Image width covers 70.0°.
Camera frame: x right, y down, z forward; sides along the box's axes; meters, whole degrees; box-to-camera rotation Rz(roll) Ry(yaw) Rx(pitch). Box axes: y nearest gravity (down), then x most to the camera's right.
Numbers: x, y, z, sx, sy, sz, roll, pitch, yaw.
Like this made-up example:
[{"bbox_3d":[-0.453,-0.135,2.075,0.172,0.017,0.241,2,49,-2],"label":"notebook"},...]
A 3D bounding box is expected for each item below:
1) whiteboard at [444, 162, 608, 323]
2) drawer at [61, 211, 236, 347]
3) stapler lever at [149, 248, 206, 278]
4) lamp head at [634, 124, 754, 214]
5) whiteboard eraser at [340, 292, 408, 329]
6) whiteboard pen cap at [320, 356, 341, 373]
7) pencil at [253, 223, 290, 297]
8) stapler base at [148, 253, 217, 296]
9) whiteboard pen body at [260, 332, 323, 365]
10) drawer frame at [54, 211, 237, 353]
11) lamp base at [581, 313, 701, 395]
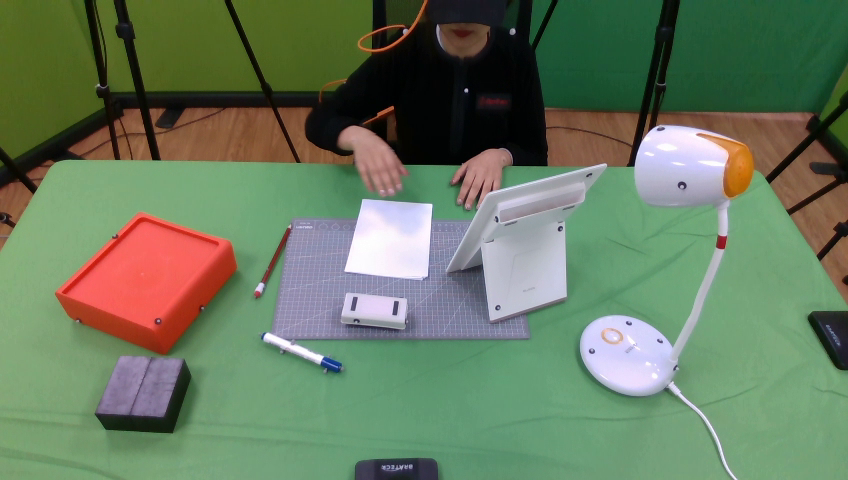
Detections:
[{"bbox_3d":[0.186,0.026,1.028,0.217,0.306,0.143,-14,68,-17],"label":"whiteboard"},{"bbox_3d":[-0.473,0.064,1.060,0.194,0.073,0.211,18,48,11],"label":"drawer"},{"bbox_3d":[-0.443,0.037,1.084,0.118,0.040,0.027,19,49,17],"label":"stapler lever"},{"bbox_3d":[0.351,-0.089,0.775,0.112,0.113,0.122,-30,30,-28],"label":"lamp head"},{"bbox_3d":[-0.087,0.125,1.052,0.113,0.042,0.055,5,45,1],"label":"whiteboard eraser"},{"bbox_3d":[-0.154,0.203,0.992,0.033,0.018,0.018,21,48,12],"label":"whiteboard pen cap"},{"bbox_3d":[-0.286,0.033,1.150,0.012,0.012,0.193,9,46,4],"label":"pencil"},{"bbox_3d":[-0.443,0.059,1.109,0.130,0.024,0.041,24,51,11],"label":"stapler base"},{"bbox_3d":[-0.208,0.184,1.003,0.140,0.017,0.017,20,48,12],"label":"whiteboard pen body"},{"bbox_3d":[-0.473,0.067,1.055,0.201,0.083,0.212,17,48,11],"label":"drawer frame"},{"bbox_3d":[0.361,0.144,0.973,0.178,0.181,0.160,34,53,23],"label":"lamp base"}]
